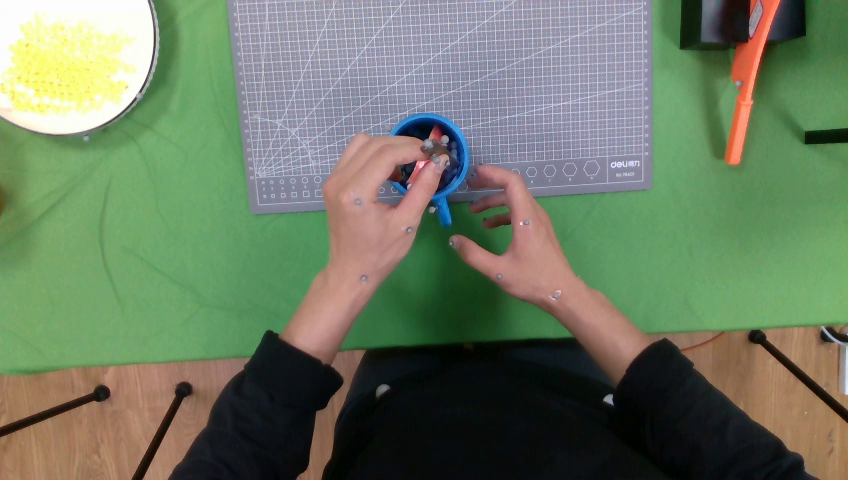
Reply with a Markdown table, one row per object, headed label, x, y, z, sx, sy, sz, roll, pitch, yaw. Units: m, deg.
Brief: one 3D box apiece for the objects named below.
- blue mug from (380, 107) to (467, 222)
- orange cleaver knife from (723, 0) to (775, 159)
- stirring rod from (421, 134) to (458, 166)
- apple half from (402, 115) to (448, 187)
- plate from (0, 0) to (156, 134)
| label | x | y | z | sx | sy | sz | roll | pitch | yaw |
| --- | --- | --- | --- | --- | --- | --- | --- | --- | --- |
| blue mug | 0.003 | -0.074 | 0.621 | 0.082 | 0.105 | 0.117 | -19 | 99 | 1 |
| orange cleaver knife | 0.333 | -0.189 | 0.630 | 0.012 | 0.076 | 0.213 | -1 | 125 | 7 |
| stirring rod | 0.016 | -0.073 | 0.504 | 0.014 | 0.176 | 0.006 | -35 | 88 | 8 |
| apple half | 0.008 | -0.086 | 0.610 | 0.033 | 0.081 | 0.081 | 23 | 97 | 5 |
| plate | -0.376 | -0.214 | 0.619 | 0.209 | 0.038 | 0.209 | 0 | 100 | -2 |
